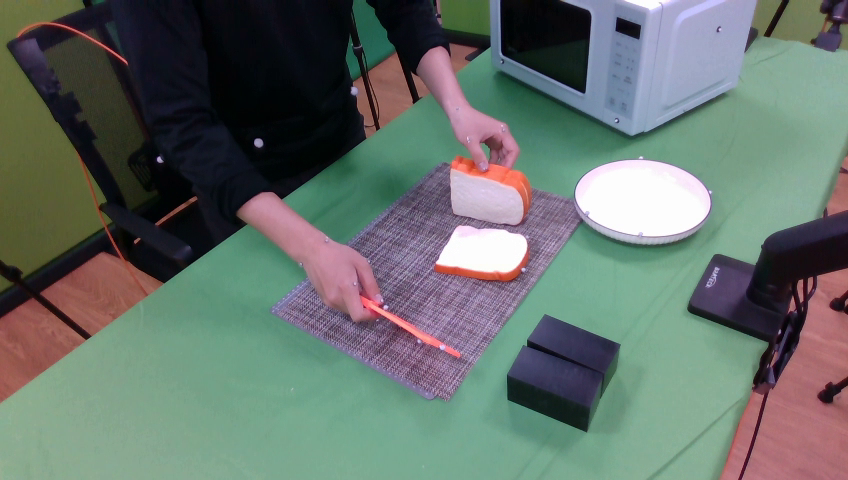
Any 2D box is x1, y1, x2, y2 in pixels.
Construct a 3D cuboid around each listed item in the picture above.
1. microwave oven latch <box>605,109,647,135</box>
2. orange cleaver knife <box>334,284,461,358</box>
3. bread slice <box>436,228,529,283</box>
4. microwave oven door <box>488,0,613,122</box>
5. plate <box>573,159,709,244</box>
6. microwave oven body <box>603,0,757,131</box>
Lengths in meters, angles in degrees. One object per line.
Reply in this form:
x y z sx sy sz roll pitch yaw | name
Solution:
0.378 -0.225 1.139 0.030 0.029 0.078 -26 43 -19 | microwave oven latch
-0.039 0.106 0.806 0.209 0.078 0.012 23 84 40 | orange cleaver knife
0.093 0.024 0.929 0.133 0.018 0.107 7 47 29 | bread slice
0.250 -0.412 1.219 0.039 0.245 0.352 -27 44 -21 | microwave oven door
0.347 -0.059 0.978 0.207 0.039 0.206 -4 41 4 | plate
0.396 -0.448 1.248 0.327 0.261 0.437 -27 44 -21 | microwave oven body
